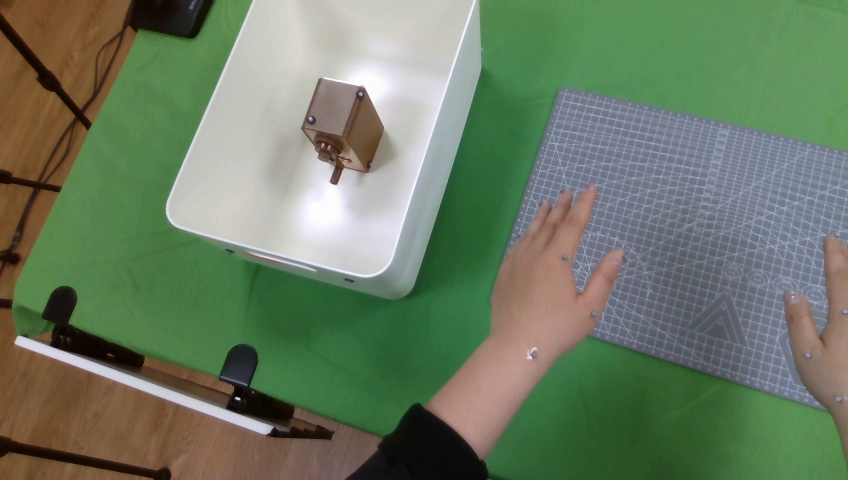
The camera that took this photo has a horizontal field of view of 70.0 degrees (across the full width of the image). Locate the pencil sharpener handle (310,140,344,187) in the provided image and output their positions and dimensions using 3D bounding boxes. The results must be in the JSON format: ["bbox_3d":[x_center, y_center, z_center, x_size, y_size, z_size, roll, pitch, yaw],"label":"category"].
[{"bbox_3d":[-0.116,-0.090,0.723,0.036,0.068,0.030,12,76,22],"label":"pencil sharpener handle"}]

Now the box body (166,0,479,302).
[{"bbox_3d":[-0.096,-0.129,0.722,0.253,0.161,0.362,14,76,12],"label":"box body"}]

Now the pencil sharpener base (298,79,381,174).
[{"bbox_3d":[-0.102,-0.134,0.746,0.061,0.108,0.076,14,76,13],"label":"pencil sharpener base"}]
